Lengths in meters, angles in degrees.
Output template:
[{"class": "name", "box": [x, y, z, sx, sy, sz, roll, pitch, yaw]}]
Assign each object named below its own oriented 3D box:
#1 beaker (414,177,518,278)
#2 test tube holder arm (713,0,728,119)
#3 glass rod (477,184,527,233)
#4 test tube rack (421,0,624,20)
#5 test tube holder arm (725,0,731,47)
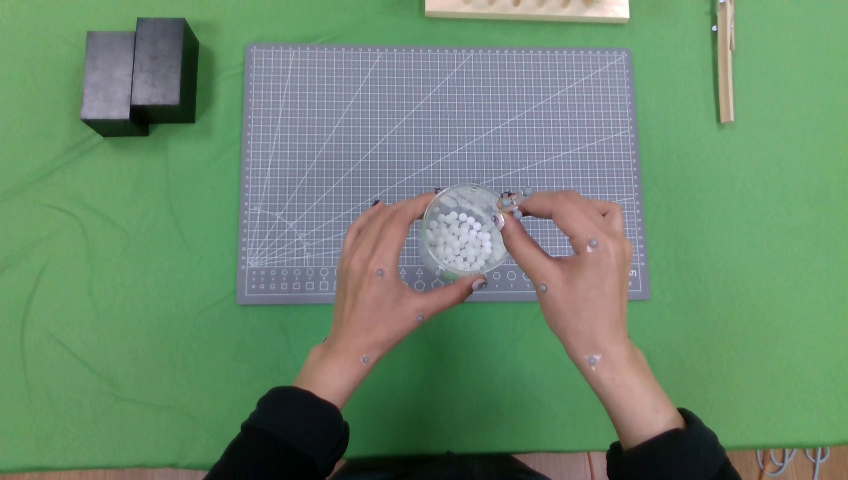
[{"class": "beaker", "box": [0.031, -0.005, 0.520, 0.084, 0.100, 0.074, 17, 82, -2]}, {"class": "test tube holder arm", "box": [0.353, -0.230, 0.720, 0.013, 0.015, 0.177, 11, 78, -31]}, {"class": "glass rod", "box": [0.055, -0.020, 0.465, 0.008, 0.200, 0.008, 0, 83, -3]}, {"class": "test tube rack", "box": [0.120, -0.307, 0.689, 0.242, 0.085, 0.066, 1, 79, -3]}, {"class": "test tube holder arm", "box": [0.362, -0.273, 0.731, 0.010, 0.015, 0.087, 12, 78, -31]}]
